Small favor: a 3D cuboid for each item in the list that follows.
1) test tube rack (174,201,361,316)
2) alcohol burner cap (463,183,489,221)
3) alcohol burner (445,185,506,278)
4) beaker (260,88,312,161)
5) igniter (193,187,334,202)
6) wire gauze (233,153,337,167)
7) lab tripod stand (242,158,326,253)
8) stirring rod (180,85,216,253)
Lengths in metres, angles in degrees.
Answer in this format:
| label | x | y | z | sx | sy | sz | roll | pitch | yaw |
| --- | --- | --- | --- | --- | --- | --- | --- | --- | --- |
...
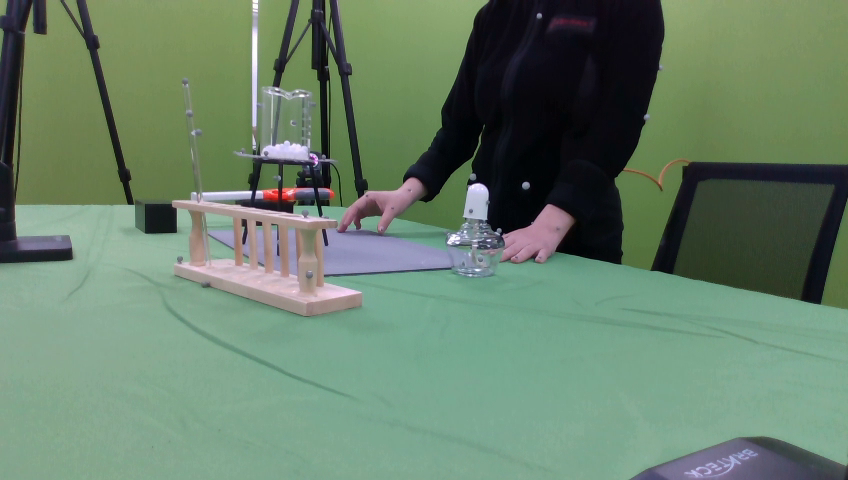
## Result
| label | x | y | z | sx | sy | sz | roll | pitch | yaw |
| --- | --- | --- | --- | --- | --- | --- | --- | --- | --- |
| test tube rack | -0.169 | 0.010 | 0.622 | 0.241 | 0.085 | 0.067 | 9 | 9 | 41 |
| alcohol burner cap | 0.067 | -0.049 | 0.765 | 0.034 | 0.048 | 0.034 | 5 | 5 | 0 |
| alcohol burner | 0.066 | -0.013 | 0.771 | 0.078 | 0.119 | 0.078 | 0 | 7 | 0 |
| beaker | -0.200 | -0.166 | 0.876 | 0.074 | 0.100 | 0.083 | 1 | 7 | -18 |
| igniter | -0.316 | -0.090 | 1.213 | 0.278 | 0.025 | 0.057 | -5 | 13 | -31 |
| wire gauze | -0.205 | -0.119 | 0.887 | 0.122 | 0.011 | 0.124 | 2 | 4 | -32 |
| lab tripod stand | -0.207 | -0.054 | 0.895 | 0.148 | 0.131 | 0.148 | 3 | 5 | 0 |
| stirring rod | -0.237 | -0.073 | 0.634 | 0.006 | 0.176 | 0.014 | 0 | 9 | 42 |
